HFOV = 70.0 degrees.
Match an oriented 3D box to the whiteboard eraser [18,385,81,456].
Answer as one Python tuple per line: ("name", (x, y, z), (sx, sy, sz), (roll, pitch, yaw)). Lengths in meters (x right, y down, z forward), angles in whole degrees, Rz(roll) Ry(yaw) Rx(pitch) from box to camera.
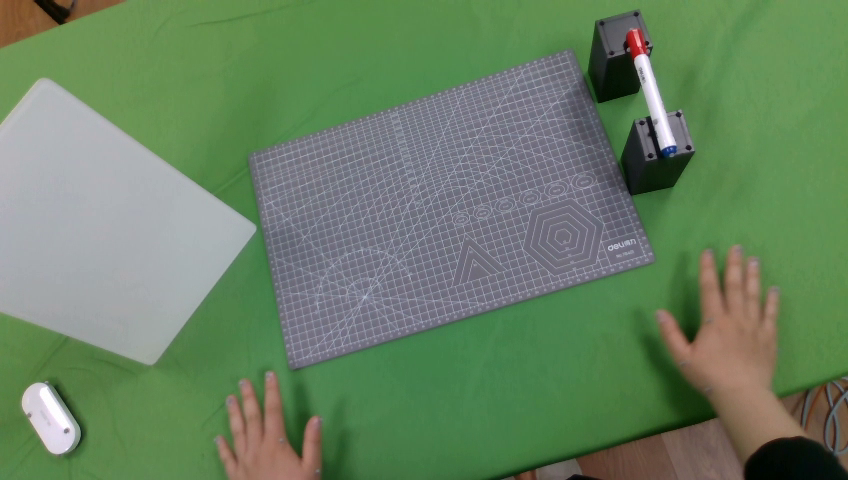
("whiteboard eraser", (-0.465, 0.223, 0.749), (0.041, 0.019, 0.100), (-44, 73, -6))

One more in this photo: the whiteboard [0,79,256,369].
("whiteboard", (-0.390, -0.019, 0.690), (0.142, 0.309, 0.217), (30, 81, 36))

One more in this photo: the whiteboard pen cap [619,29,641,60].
("whiteboard pen cap", (0.224, -0.211, 0.656), (0.017, 0.017, 0.032), (-10, 74, 7))

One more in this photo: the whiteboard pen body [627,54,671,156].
("whiteboard pen body", (0.234, -0.153, 0.640), (0.017, 0.017, 0.139), (-13, 72, 6))
